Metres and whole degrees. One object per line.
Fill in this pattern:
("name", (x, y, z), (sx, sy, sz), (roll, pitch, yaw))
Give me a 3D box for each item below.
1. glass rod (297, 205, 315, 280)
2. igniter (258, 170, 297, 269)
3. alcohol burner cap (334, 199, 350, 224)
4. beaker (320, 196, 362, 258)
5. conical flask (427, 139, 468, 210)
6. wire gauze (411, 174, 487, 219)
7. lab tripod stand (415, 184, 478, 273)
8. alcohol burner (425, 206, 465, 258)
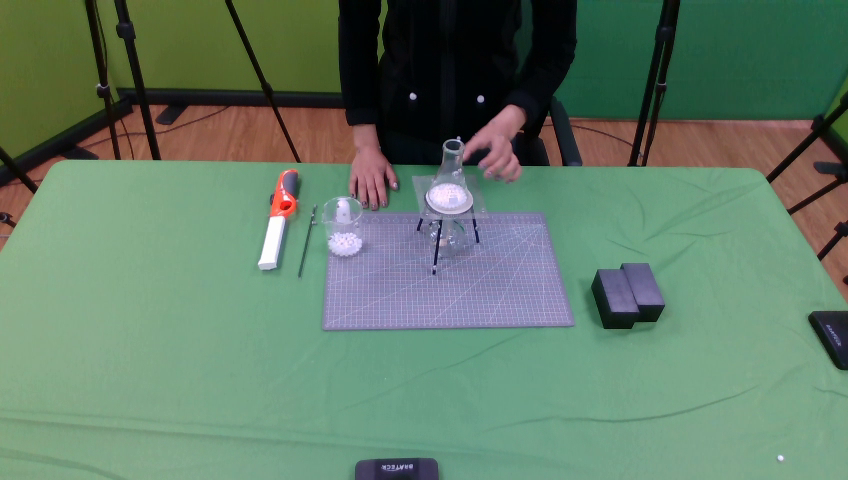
("glass rod", (-0.232, 0.001, 1.192), (0.008, 0.008, 0.198), (2, 47, -1))
("igniter", (-0.294, -0.049, 1.221), (0.057, 0.025, 0.274), (-5, 45, 4))
("alcohol burner cap", (-0.168, -0.061, 1.228), (0.034, 0.048, 0.033), (3, 45, -3))
("beaker", (-0.156, -0.020, 1.150), (0.084, 0.101, 0.073), (-30, 55, -28))
("conical flask", (0.046, -0.117, 1.061), (0.075, 0.122, 0.075), (3, 46, -2))
("wire gauze", (0.044, -0.079, 1.107), (0.125, 0.011, 0.120), (-4, 44, -6))
("lab tripod stand", (0.041, -0.031, 1.152), (0.148, 0.132, 0.147), (3, 44, -3))
("alcohol burner", (0.041, -0.023, 1.158), (0.078, 0.119, 0.077), (3, 47, -3))
